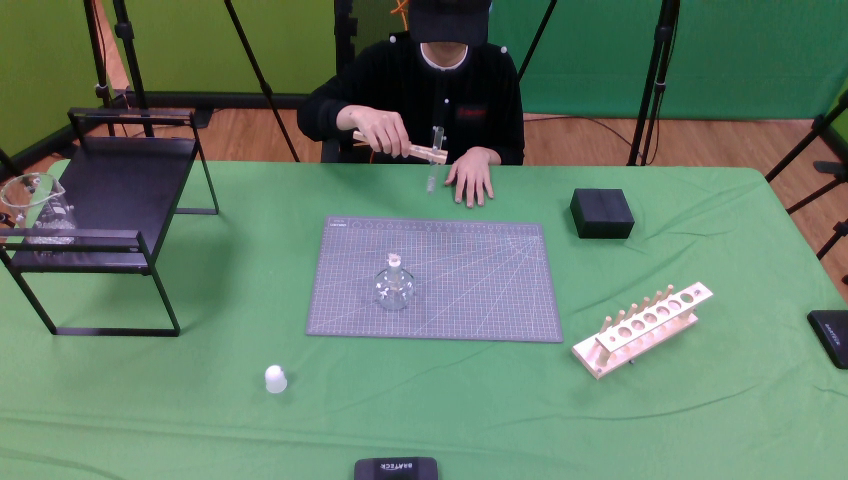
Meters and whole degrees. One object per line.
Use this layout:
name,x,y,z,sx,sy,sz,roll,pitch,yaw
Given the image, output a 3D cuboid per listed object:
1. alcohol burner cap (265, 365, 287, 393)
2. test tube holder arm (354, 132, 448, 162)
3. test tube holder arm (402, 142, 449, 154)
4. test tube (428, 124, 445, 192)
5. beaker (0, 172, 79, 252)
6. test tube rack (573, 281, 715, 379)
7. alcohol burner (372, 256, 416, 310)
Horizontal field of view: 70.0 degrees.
alcohol burner cap,-0.236,0.216,0.956,0.034,0.048,0.033,3,45,-3
test tube holder arm,-0.043,-0.172,1.116,0.178,0.015,0.013,14,40,3
test tube holder arm,0.002,-0.166,1.120,0.088,0.015,0.010,9,40,-3
test tube,0.022,-0.148,1.126,0.017,0.151,0.017,4,44,-4
beaker,-0.557,-0.038,0.889,0.084,0.101,0.073,-3,47,-8
test tube rack,0.378,0.140,1.038,0.242,0.085,0.066,-22,51,-23
alcohol burner,-0.052,0.068,1.057,0.078,0.120,0.077,1,48,-1
